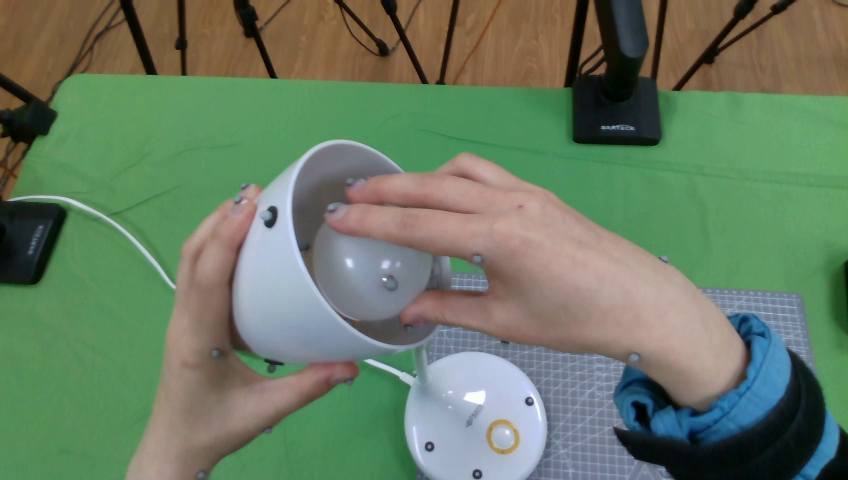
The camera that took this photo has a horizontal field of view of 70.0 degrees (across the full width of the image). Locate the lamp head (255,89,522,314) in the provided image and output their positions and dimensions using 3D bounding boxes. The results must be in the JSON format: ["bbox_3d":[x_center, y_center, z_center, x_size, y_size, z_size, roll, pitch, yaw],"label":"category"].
[{"bbox_3d":[-0.020,-0.022,0.305,0.123,0.113,0.111,4,72,1],"label":"lamp head"}]

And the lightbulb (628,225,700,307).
[{"bbox_3d":[0.263,0.025,0.678,0.059,0.060,0.106,-22,56,-2],"label":"lightbulb"}]

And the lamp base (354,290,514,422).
[{"bbox_3d":[0.000,0.094,0.606,0.179,0.181,0.159,8,72,10],"label":"lamp base"}]
